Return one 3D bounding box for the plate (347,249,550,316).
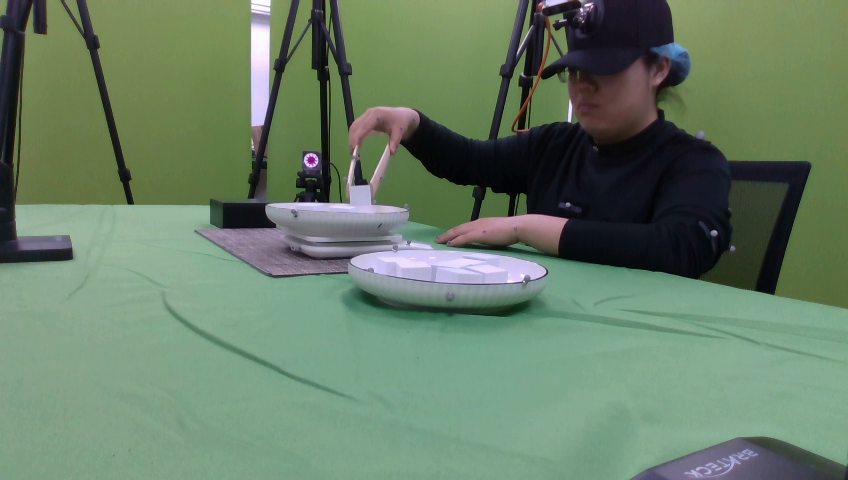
[{"bbox_3d":[0.025,0.042,0.627,0.209,0.038,0.209,2,7,0],"label":"plate"}]

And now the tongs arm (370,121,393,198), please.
[{"bbox_3d":[-0.075,-0.150,1.053,0.028,0.028,0.387,-3,24,2],"label":"tongs arm"}]

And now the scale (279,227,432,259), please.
[{"bbox_3d":[-0.100,0.001,0.899,0.202,0.031,0.148,-1,9,-31],"label":"scale"}]

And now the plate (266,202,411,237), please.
[{"bbox_3d":[-0.123,-0.030,0.879,0.208,0.039,0.207,2,6,0],"label":"plate"}]

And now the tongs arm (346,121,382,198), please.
[{"bbox_3d":[-0.100,-0.151,1.053,0.051,0.026,0.384,-1,24,-3],"label":"tongs arm"}]
